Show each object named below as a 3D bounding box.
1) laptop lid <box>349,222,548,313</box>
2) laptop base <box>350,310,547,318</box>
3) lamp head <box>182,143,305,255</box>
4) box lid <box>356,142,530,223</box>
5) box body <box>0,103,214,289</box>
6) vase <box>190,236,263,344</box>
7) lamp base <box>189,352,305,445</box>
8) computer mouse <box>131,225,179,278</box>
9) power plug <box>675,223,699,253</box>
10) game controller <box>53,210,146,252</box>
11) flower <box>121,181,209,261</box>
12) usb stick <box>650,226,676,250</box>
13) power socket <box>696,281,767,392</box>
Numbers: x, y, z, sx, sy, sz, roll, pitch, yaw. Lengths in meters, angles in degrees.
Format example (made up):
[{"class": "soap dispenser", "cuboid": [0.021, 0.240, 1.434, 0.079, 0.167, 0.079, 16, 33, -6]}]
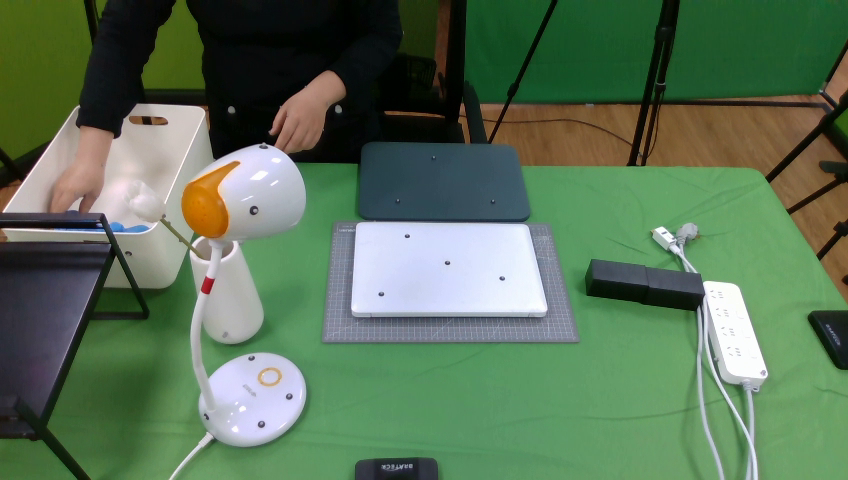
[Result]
[{"class": "laptop lid", "cuboid": [0.042, 0.046, 1.142, 0.357, 0.013, 0.240, 2, 44, -3]}, {"class": "laptop base", "cuboid": [0.041, 0.056, 1.149, 0.355, 0.023, 0.234, 0, 43, -4]}, {"class": "lamp head", "cuboid": [-0.216, -0.044, 0.697, 0.112, 0.113, 0.123, 23, 31, 17]}, {"class": "box lid", "cuboid": [0.040, -0.132, 1.339, 0.372, 0.015, 0.261, 0, 46, -4]}, {"class": "box body", "cuboid": [-0.563, -0.087, 1.139, 0.254, 0.161, 0.361, 2, 46, -3]}, {"class": "vase", "cuboid": [-0.317, 0.081, 0.971, 0.098, 0.201, 0.097, 3, 47, -3]}, {"class": "lamp base", "cuboid": [-0.268, 0.196, 0.876, 0.160, 0.181, 0.179, 25, 52, 20]}, {"class": "computer mouse", "cuboid": [-0.497, 0.018, 1.119, 0.063, 0.041, 0.116, 2, 54, -4]}, {"class": "power plug", "cuboid": [0.537, 0.000, 1.244, 0.053, 0.035, 0.072, 19, 83, -18]}, {"class": "game controller", "cuboid": [-0.593, -0.009, 1.110, 0.155, 0.052, 0.096, 14, 53, -12]}, {"class": "flower", "cuboid": [-0.329, 0.029, 0.905, 0.038, 0.364, 0.044, -22, 58, -1]}, {"class": "usb stick", "cuboid": [0.485, -0.008, 1.237, 0.021, 0.027, 0.059, -22, 44, -14]}, {"class": "power socket", "cuboid": [0.543, 0.161, 1.077, 0.072, 0.033, 0.225, 6, 46, 2]}]
